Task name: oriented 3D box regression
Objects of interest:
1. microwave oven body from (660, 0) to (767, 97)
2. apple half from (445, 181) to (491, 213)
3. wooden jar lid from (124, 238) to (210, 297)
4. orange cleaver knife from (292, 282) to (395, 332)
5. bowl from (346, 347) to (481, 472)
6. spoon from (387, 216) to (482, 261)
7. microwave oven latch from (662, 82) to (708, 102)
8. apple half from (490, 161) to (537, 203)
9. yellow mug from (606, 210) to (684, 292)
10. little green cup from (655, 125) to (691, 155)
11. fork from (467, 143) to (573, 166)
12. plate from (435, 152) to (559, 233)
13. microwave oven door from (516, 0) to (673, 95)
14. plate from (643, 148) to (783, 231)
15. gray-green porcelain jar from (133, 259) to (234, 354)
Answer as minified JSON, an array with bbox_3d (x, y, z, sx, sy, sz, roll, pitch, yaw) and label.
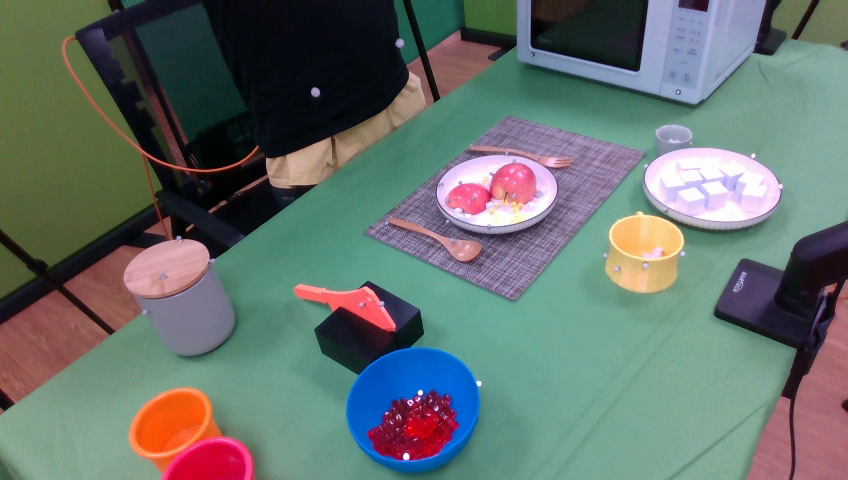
[{"bbox_3d":[0.473,-0.517,1.314,0.438,0.261,0.327,26,52,34],"label":"microwave oven body"},{"bbox_3d":[0.077,-0.083,1.029,0.081,0.033,0.081,-2,41,2],"label":"apple half"},{"bbox_3d":[-0.335,0.039,0.794,0.108,0.021,0.108,-2,40,2],"label":"wooden jar lid"},{"bbox_3d":[-0.116,0.091,0.835,0.209,0.077,0.012,2,32,48],"label":"orange cleaver knife"},{"bbox_3d":[-0.008,0.205,0.691,0.151,0.077,0.150,-4,40,4],"label":"bowl"},{"bbox_3d":[0.012,-0.009,0.973,0.192,0.022,0.041,25,71,31],"label":"spoon"},{"bbox_3d":[0.517,-0.298,1.203,0.078,0.029,0.030,28,53,35],"label":"microwave oven latch"},{"bbox_3d":[0.154,-0.106,1.030,0.080,0.053,0.075,22,46,31],"label":"apple half"},{"bbox_3d":[0.318,0.007,0.883,0.100,0.064,0.130,0,41,8],"label":"yellow mug"},{"bbox_3d":[0.450,-0.178,1.099,0.061,0.039,0.061,-5,40,4],"label":"little green cup"},{"bbox_3d":[0.175,-0.163,1.131,0.206,0.019,0.028,14,59,21],"label":"fork"},{"bbox_3d":[0.123,-0.078,1.026,0.209,0.038,0.208,-4,40,4],"label":"plate"},{"bbox_3d":[0.344,-0.458,1.256,0.353,0.245,0.039,26,51,33],"label":"microwave oven door"},{"bbox_3d":[0.464,-0.080,0.986,0.207,0.039,0.206,-4,41,4],"label":"plate"},{"bbox_3d":[-0.328,0.087,0.836,0.106,0.127,0.105,-4,41,4],"label":"gray-green porcelain jar"}]
